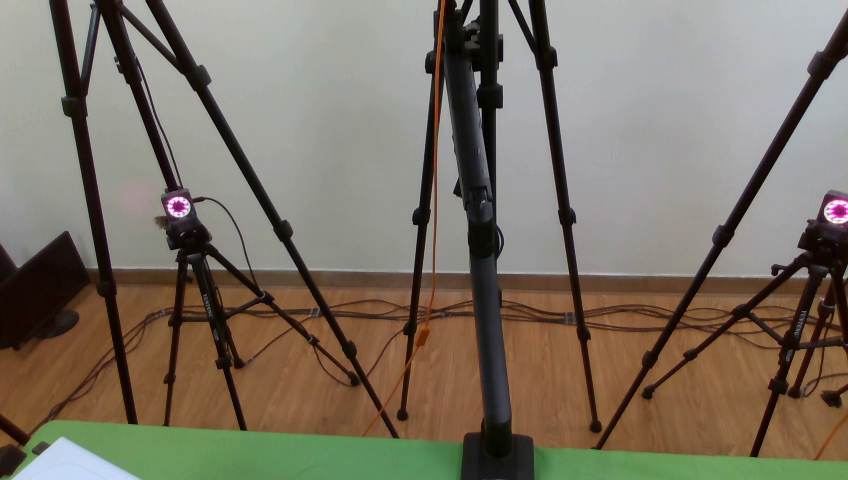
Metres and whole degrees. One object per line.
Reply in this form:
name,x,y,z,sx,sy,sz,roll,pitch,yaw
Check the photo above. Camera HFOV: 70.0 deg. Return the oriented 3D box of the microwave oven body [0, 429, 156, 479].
microwave oven body,-0.458,0.496,0.677,0.324,0.262,0.440,14,40,24
